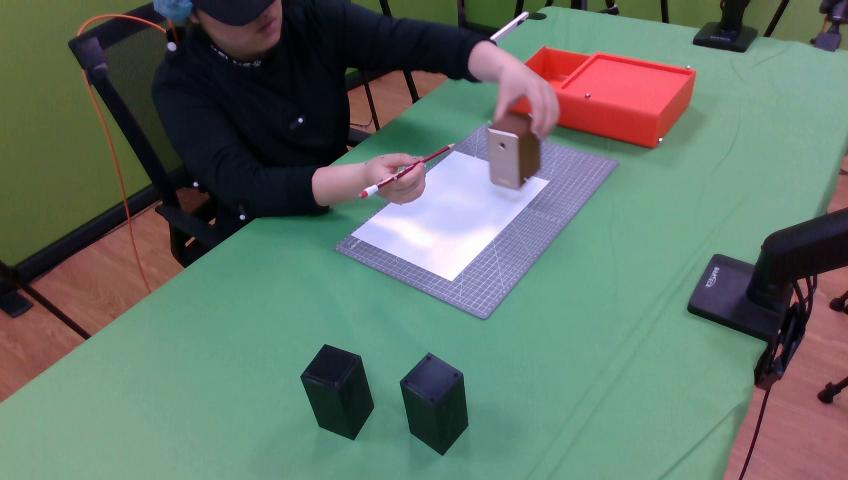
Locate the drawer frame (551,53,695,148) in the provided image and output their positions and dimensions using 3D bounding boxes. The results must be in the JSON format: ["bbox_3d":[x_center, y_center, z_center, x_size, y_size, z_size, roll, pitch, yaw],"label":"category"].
[{"bbox_3d":[0.391,-0.281,1.196,0.212,0.083,0.202,22,48,29],"label":"drawer frame"}]

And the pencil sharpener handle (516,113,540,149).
[{"bbox_3d":[0.176,-0.184,0.997,0.035,0.068,0.031,16,44,35],"label":"pencil sharpener handle"}]

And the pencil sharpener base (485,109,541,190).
[{"bbox_3d":[0.147,-0.147,0.975,0.061,0.107,0.077,19,46,33],"label":"pencil sharpener base"}]

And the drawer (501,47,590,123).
[{"bbox_3d":[0.296,-0.316,1.255,0.210,0.073,0.195,22,47,30],"label":"drawer"}]

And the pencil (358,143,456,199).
[{"bbox_3d":[-0.021,-0.108,0.914,0.195,0.012,0.012,-33,46,-29],"label":"pencil"}]
